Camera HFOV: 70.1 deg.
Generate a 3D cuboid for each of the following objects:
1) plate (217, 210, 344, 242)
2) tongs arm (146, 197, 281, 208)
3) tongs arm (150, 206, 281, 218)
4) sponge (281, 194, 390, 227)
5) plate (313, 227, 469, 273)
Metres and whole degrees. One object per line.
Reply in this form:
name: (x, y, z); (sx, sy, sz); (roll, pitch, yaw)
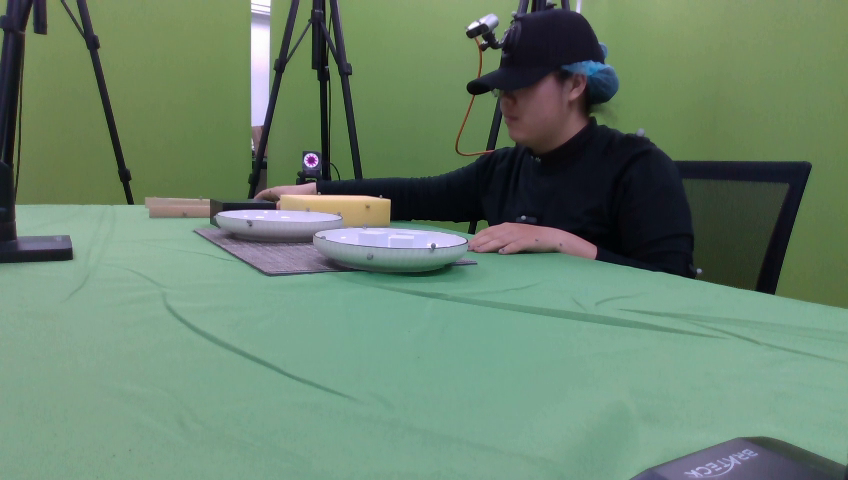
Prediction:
plate: (-0.241, -0.024, 1.026); (0.208, 0.039, 0.207); (3, 7, 0)
tongs arm: (-0.437, -0.078, 1.415); (0.387, 0.026, 0.050); (1, 9, -25)
tongs arm: (-0.404, -0.064, 1.352); (0.390, 0.028, 0.028); (-2, 7, -35)
sponge: (-0.188, -0.063, 1.291); (0.208, 0.061, 0.117); (-2, 9, -35)
plate: (-0.044, 0.012, 0.807); (0.209, 0.038, 0.209); (2, 7, 0)
